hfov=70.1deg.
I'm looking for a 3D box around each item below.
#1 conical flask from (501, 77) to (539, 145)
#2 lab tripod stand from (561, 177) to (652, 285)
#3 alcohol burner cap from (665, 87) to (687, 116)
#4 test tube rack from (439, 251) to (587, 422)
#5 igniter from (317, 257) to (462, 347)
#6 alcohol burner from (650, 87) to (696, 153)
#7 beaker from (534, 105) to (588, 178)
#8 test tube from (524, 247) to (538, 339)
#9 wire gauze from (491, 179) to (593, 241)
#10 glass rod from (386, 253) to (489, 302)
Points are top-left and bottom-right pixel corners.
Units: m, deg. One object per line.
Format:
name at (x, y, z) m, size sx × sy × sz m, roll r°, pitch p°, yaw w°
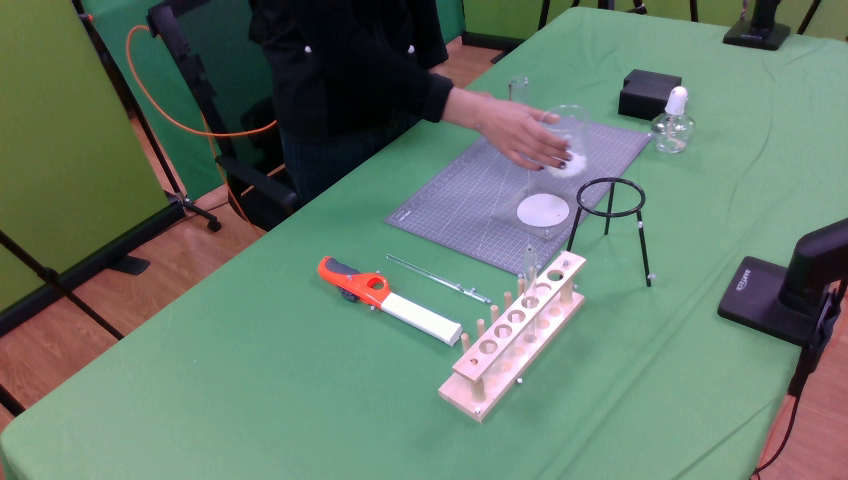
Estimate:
conical flask at (0.183, -0.250, 1.163) m, size 0.075 × 0.122 × 0.075 m, roll -6°, pitch 40°, yaw 5°
lab tripod stand at (0.263, -0.014, 0.864) m, size 0.148 × 0.132 × 0.147 m, roll -7°, pitch 38°, yaw 6°
alcohol burner cap at (0.445, -0.244, 1.060) m, size 0.034 × 0.048 × 0.033 m, roll -2°, pitch 45°, yaw 3°
test tube rack at (0.118, 0.111, 0.780) m, size 0.066 × 0.085 × 0.243 m, roll 26°, pitch 51°, yaw 34°
igniter at (-0.061, 0.086, 0.891) m, size 0.274 × 0.025 × 0.057 m, roll 23°, pitch 59°, yaw 33°
alcohol burner at (0.448, -0.217, 1.084) m, size 0.078 × 0.119 × 0.077 m, roll -6°, pitch 38°, yaw 5°
beaker at (0.226, -0.158, 0.987) m, size 0.084 × 0.101 × 0.074 m, roll -4°, pitch 42°, yaw 14°
test tube at (0.133, 0.070, 0.749) m, size 0.017 × 0.151 × 0.017 m, roll -5°, pitch 38°, yaw 4°
wire gauze at (0.198, -0.051, 1.013) m, size 0.125 × 0.011 × 0.120 m, roll -38°, pitch 48°, yaw -27°
glass rod at (0.016, 0.055, 0.927) m, size 0.198 × 0.008 × 0.008 m, roll 23°, pitch 50°, yaw 32°
